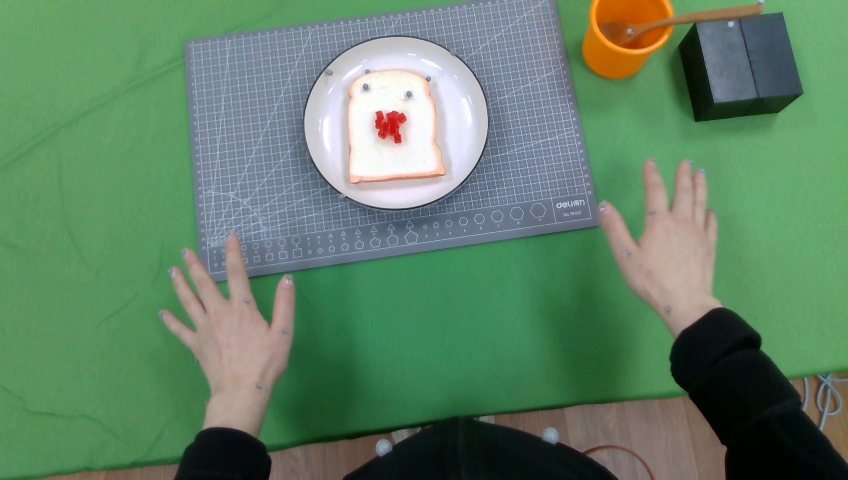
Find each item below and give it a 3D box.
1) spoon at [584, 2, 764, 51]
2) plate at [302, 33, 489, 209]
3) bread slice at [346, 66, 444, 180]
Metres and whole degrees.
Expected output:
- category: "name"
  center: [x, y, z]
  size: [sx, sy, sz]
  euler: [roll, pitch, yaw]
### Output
- category: "spoon"
  center: [0.260, -0.233, 0.653]
  size: [0.022, 0.192, 0.041]
  euler: [31, 75, -38]
- category: "plate"
  center: [-0.031, -0.133, 0.687]
  size: [0.209, 0.038, 0.208]
  euler: [0, 78, 0]
- category: "bread slice"
  center: [-0.039, -0.133, 0.688]
  size: [0.107, 0.018, 0.133]
  euler: [-8, 78, -2]
